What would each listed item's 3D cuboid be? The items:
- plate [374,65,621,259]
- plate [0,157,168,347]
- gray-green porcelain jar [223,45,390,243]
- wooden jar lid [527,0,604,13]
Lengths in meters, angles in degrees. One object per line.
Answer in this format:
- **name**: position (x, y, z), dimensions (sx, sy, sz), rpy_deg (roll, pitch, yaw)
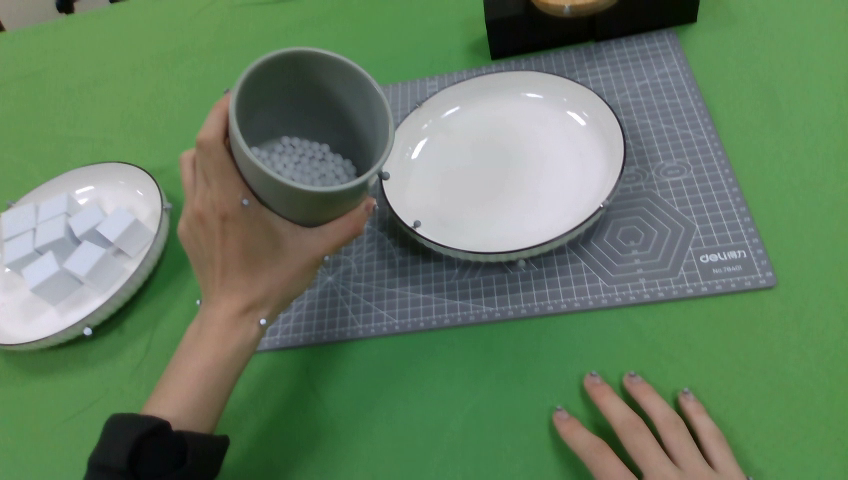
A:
- **plate**: position (0.061, -0.068, 0.524), dimensions (0.209, 0.038, 0.207), rpy_deg (-7, 55, 10)
- **plate**: position (-0.339, 0.010, 0.580), dimensions (0.207, 0.039, 0.205), rpy_deg (-7, 55, 10)
- **gray-green porcelain jar**: position (-0.091, -0.061, 0.443), dimensions (0.106, 0.126, 0.105), rpy_deg (6, 70, -17)
- **wooden jar lid**: position (0.141, -0.257, 0.586), dimensions (0.108, 0.021, 0.107), rpy_deg (-6, 56, 10)
